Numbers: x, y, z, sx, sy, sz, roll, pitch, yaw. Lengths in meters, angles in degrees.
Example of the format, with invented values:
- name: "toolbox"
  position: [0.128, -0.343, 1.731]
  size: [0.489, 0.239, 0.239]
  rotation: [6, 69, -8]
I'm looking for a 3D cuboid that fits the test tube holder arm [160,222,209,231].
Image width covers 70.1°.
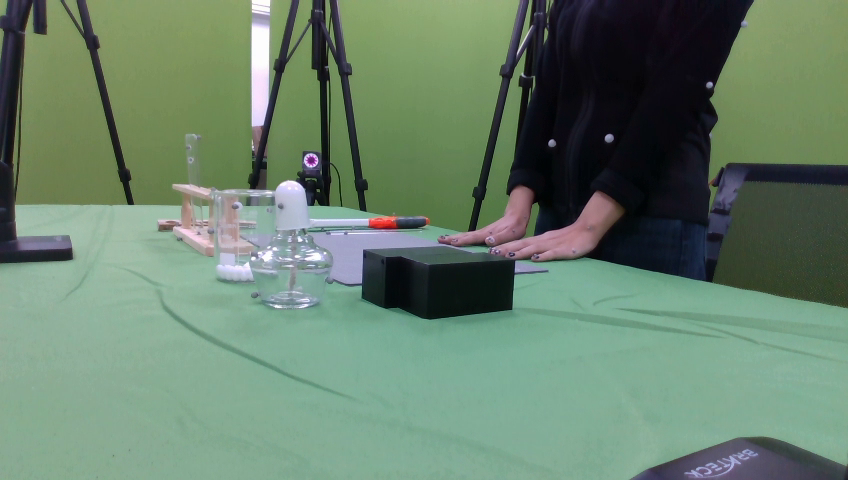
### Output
- name: "test tube holder arm"
  position: [-0.423, -0.024, 1.075]
  size: [0.088, 0.015, 0.010]
  rotation: [-2, 44, -38]

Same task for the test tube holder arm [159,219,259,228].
- name: "test tube holder arm"
  position: [-0.390, -0.030, 1.107]
  size: [0.179, 0.015, 0.013]
  rotation: [-3, 44, -39]

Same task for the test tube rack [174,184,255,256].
- name: "test tube rack"
  position: [-0.327, -0.036, 0.928]
  size: [0.067, 0.085, 0.241]
  rotation: [-2, 9, -32]

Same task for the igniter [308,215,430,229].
- name: "igniter"
  position: [-0.108, -0.037, 1.228]
  size: [0.278, 0.025, 0.057]
  rotation: [-3, -1, -35]

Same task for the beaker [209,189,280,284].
- name: "beaker"
  position: [-0.200, -0.006, 0.677]
  size: [0.084, 0.100, 0.074]
  rotation: [3, 7, 8]

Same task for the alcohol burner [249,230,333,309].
- name: "alcohol burner"
  position: [-0.125, 0.004, 0.568]
  size: [0.078, 0.119, 0.078]
  rotation: [2, 9, 0]

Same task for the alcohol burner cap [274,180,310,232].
- name: "alcohol burner cap"
  position: [-0.125, -0.032, 0.563]
  size: [0.034, 0.048, 0.034]
  rotation: [-5, 6, 1]

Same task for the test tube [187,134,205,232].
- name: "test tube"
  position: [-0.350, -0.087, 0.928]
  size: [0.017, 0.150, 0.017]
  rotation: [-3, 5, 1]

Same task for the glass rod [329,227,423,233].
- name: "glass rod"
  position: [-0.087, -0.019, 1.148]
  size: [0.201, 0.008, 0.008]
  rotation: [-3, 8, -33]
